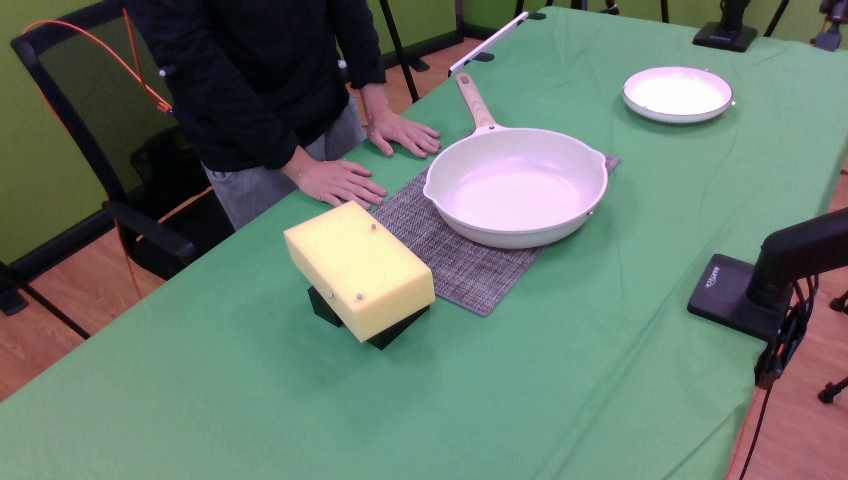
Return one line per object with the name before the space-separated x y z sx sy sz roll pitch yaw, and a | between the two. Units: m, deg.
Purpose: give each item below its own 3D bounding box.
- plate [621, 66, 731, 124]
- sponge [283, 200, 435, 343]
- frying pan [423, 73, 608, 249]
plate | 0.504 -0.288 1.221 0.207 0.039 0.206 -4 41 4
sponge | -0.093 0.036 0.835 0.119 0.061 0.205 -29 45 -23
frying pan | 0.129 -0.160 1.069 0.307 0.103 0.484 -11 49 -6
